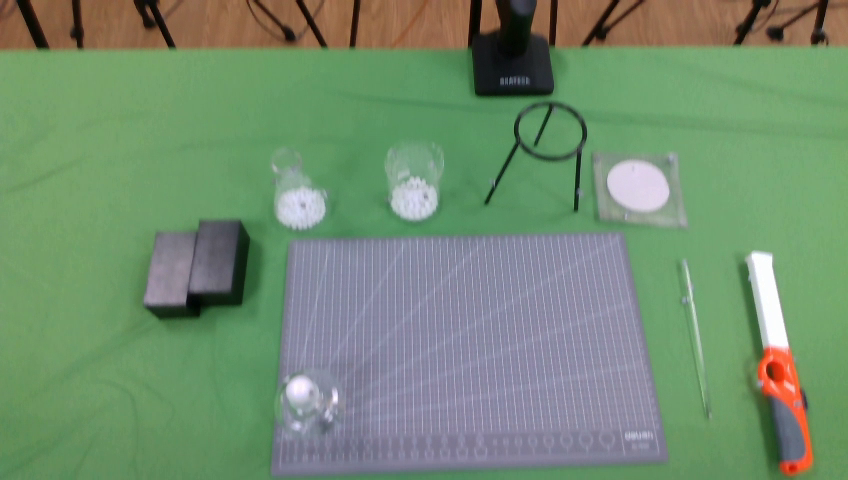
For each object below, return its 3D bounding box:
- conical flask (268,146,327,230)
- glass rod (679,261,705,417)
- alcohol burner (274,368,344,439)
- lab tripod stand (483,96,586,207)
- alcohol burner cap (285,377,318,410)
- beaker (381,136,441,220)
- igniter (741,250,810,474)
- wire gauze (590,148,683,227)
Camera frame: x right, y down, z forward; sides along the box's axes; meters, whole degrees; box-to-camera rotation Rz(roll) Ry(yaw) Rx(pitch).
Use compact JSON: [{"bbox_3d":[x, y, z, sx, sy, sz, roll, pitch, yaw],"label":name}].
[{"bbox_3d":[-0.169,-0.071,0.775,0.075,0.123,0.074,0,64,0],"label":"conical flask"},{"bbox_3d":[0.336,0.120,0.758,0.008,0.008,0.198,2,67,0],"label":"glass rod"},{"bbox_3d":[-0.129,0.174,0.660,0.078,0.120,0.077,0,63,1],"label":"alcohol burner"},{"bbox_3d":[0.149,-0.109,0.795,0.148,0.132,0.147,0,66,0],"label":"lab tripod stand"},{"bbox_3d":[-0.128,0.157,0.628,0.034,0.048,0.033,2,68,-4],"label":"alcohol burner cap"},{"bbox_3d":[-0.014,-0.078,0.796,0.084,0.101,0.073,-37,70,-18],"label":"beaker"},{"bbox_3d":[0.427,0.141,0.739,0.057,0.025,0.274,8,64,-9],"label":"igniter"},{"bbox_3d":[0.299,-0.078,0.853,0.125,0.011,0.120,5,65,-1],"label":"wire gauze"}]
